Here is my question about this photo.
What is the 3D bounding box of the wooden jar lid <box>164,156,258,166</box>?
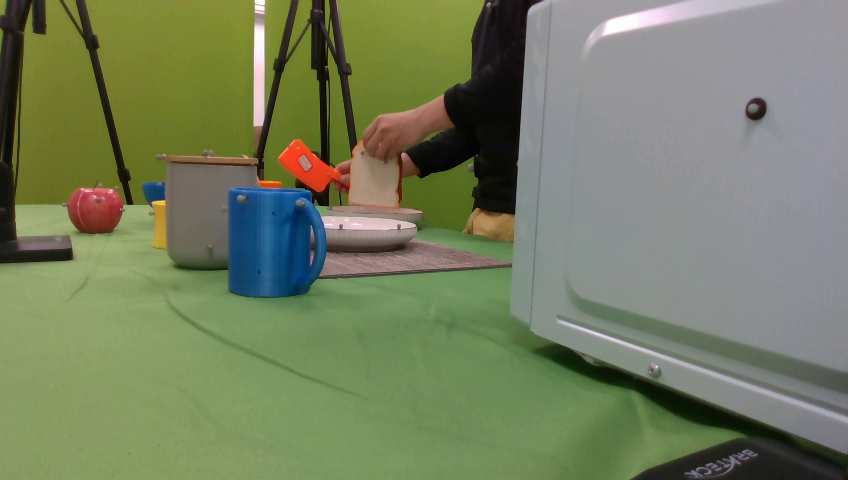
[{"bbox_3d":[-0.261,-0.093,0.746,0.108,0.020,0.108,1,9,0],"label":"wooden jar lid"}]

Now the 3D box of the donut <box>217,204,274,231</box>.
[{"bbox_3d":[-0.317,-0.038,1.080,0.099,0.048,0.099,3,7,0],"label":"donut"}]

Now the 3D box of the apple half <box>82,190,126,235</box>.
[{"bbox_3d":[-0.516,-0.046,0.994,0.032,0.081,0.081,0,6,26],"label":"apple half"}]

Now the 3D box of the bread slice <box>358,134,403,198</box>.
[{"bbox_3d":[-0.092,-0.155,1.266,0.105,0.131,0.019,7,20,5],"label":"bread slice"}]

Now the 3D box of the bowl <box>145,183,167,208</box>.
[{"bbox_3d":[-0.459,-0.068,1.175,0.151,0.077,0.151,2,7,0],"label":"bowl"}]

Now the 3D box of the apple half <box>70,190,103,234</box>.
[{"bbox_3d":[-0.552,-0.047,1.009,0.053,0.074,0.081,-1,9,26],"label":"apple half"}]

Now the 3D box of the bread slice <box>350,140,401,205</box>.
[{"bbox_3d":[-0.100,-0.136,1.221,0.107,0.134,0.018,1,23,4],"label":"bread slice"}]

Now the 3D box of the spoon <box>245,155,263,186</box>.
[{"bbox_3d":[-0.421,-0.150,1.540,0.042,0.021,0.193,-5,55,-37],"label":"spoon"}]

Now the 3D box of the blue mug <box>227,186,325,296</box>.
[{"bbox_3d":[-0.146,0.000,0.618,0.116,0.106,0.083,7,9,32],"label":"blue mug"}]

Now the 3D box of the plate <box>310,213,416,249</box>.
[{"bbox_3d":[-0.117,-0.014,0.967,0.208,0.039,0.207,2,7,0],"label":"plate"}]

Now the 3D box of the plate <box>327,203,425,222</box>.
[{"bbox_3d":[-0.102,-0.053,1.299,0.209,0.038,0.209,2,8,0],"label":"plate"}]

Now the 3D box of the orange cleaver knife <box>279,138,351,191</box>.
[{"bbox_3d":[-0.230,-0.151,1.350,0.012,0.077,0.212,14,-14,47],"label":"orange cleaver knife"}]

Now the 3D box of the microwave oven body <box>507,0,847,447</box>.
[{"bbox_3d":[0.331,-0.042,0.425,0.444,0.260,0.324,-2,8,-31],"label":"microwave oven body"}]

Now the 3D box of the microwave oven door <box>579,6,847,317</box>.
[{"bbox_3d":[0.294,-0.067,0.570,0.358,0.243,0.039,-3,9,-31],"label":"microwave oven door"}]

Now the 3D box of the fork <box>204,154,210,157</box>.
[{"bbox_3d":[-0.480,-0.136,1.412,0.028,0.018,0.207,0,-34,-1],"label":"fork"}]

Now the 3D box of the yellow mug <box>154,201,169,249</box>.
[{"bbox_3d":[-0.337,-0.022,0.899,0.130,0.064,0.100,8,9,34],"label":"yellow mug"}]

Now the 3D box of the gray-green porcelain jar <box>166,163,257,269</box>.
[{"bbox_3d":[-0.263,-0.031,0.754,0.106,0.126,0.106,2,7,0],"label":"gray-green porcelain jar"}]

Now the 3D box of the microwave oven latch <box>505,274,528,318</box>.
[{"bbox_3d":[0.100,0.041,0.471,0.079,0.029,0.030,-1,8,-28],"label":"microwave oven latch"}]
